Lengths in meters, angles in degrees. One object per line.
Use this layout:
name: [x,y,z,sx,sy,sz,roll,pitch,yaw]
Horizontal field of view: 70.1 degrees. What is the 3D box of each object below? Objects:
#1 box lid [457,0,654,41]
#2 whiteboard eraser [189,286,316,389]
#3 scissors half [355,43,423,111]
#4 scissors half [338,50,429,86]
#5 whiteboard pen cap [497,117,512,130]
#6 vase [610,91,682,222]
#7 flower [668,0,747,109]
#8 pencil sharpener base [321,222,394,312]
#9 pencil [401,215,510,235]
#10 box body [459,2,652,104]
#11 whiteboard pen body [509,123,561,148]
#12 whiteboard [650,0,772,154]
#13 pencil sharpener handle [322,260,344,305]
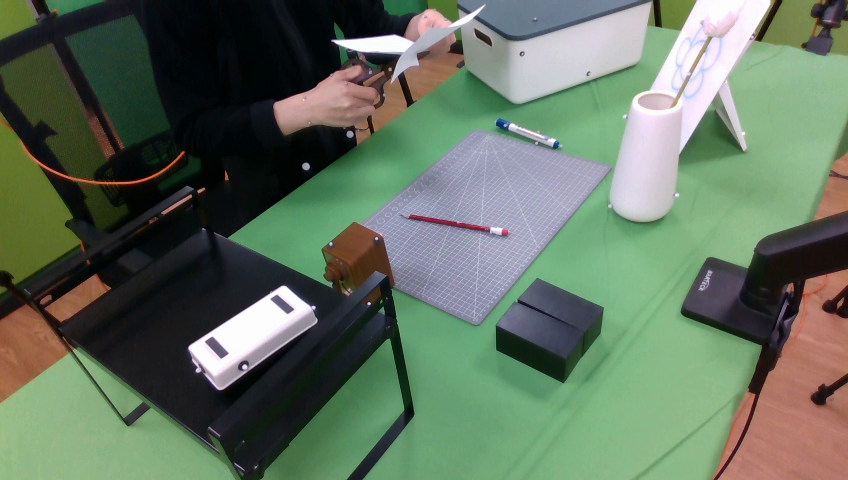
box lid: [0.285,-0.522,1.323,0.373,0.015,0.261,-22,43,-16]
whiteboard eraser: [-0.166,0.096,0.593,0.113,0.042,0.055,-36,47,-29]
scissors half: [-0.052,-0.245,0.913,0.040,0.174,0.013,46,48,-9]
scissors half: [-0.064,-0.263,0.906,0.174,0.040,0.013,-2,40,35]
whiteboard pen cap: [0.165,-0.235,1.226,0.033,0.018,0.018,31,53,31]
vase: [0.348,-0.125,0.935,0.098,0.201,0.097,-3,40,3]
flower: [0.354,-0.187,0.879,0.038,0.362,0.044,30,48,14]
pencil sharpener base: [-0.096,0.041,0.873,0.061,0.107,0.077,26,54,32]
pencil: [0.049,-0.027,1.007,0.193,0.012,0.012,10,43,21]
box body: [0.291,-0.465,1.371,0.365,0.161,0.252,-22,42,-16]
whiteboard pen body: [0.208,-0.211,1.195,0.139,0.017,0.017,30,52,33]
whiteboard: [0.543,-0.298,1.076,0.144,0.305,0.216,12,40,-7]
pencil sharpener handle: [-0.131,0.062,0.839,0.035,0.068,0.031,29,56,28]
